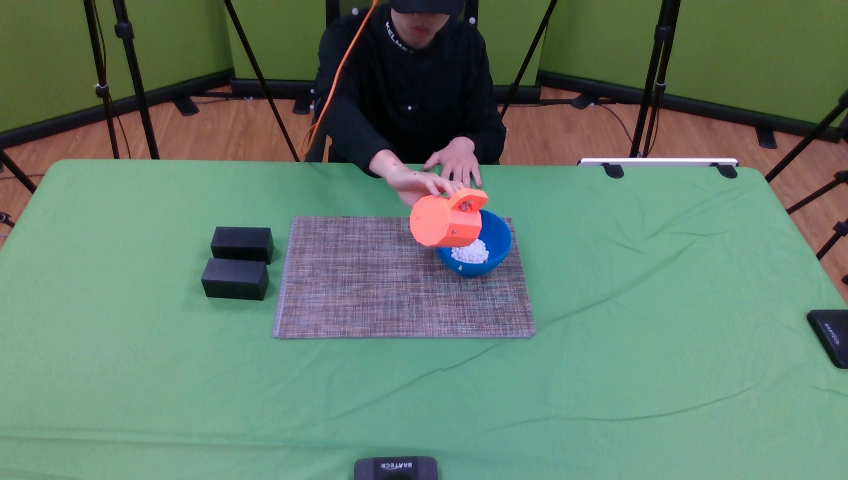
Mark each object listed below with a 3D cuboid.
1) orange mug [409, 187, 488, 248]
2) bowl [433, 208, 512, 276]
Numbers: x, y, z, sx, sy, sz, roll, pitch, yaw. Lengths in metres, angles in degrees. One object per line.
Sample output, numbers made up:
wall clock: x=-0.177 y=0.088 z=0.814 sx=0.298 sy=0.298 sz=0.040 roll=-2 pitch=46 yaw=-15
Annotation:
orange mug: x=0.050 y=-0.042 z=1.039 sx=0.101 sy=0.126 sz=0.083 roll=8 pitch=46 yaw=-54
bowl: x=0.086 y=0.016 z=1.147 sx=0.151 sy=0.077 sz=0.150 roll=2 pitch=46 yaw=-2
